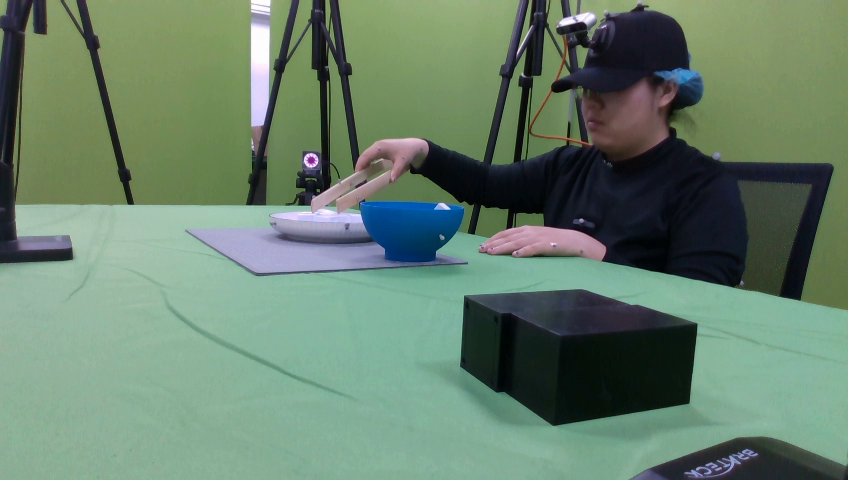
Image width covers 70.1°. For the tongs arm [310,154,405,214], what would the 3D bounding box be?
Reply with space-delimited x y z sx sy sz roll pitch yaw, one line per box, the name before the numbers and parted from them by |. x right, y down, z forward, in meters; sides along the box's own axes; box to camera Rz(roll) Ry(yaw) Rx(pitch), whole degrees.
tongs arm | -0.116 -0.118 1.184 0.050 0.026 0.385 3 20 15

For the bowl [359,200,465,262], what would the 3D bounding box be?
bowl | -0.018 -0.013 0.859 0.151 0.077 0.151 2 7 0

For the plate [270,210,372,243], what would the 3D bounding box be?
plate | -0.161 -0.024 1.054 0.208 0.039 0.207 2 7 0

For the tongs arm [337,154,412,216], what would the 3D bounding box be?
tongs arm | -0.087 -0.115 1.175 0.028 0.028 0.388 1 20 18
